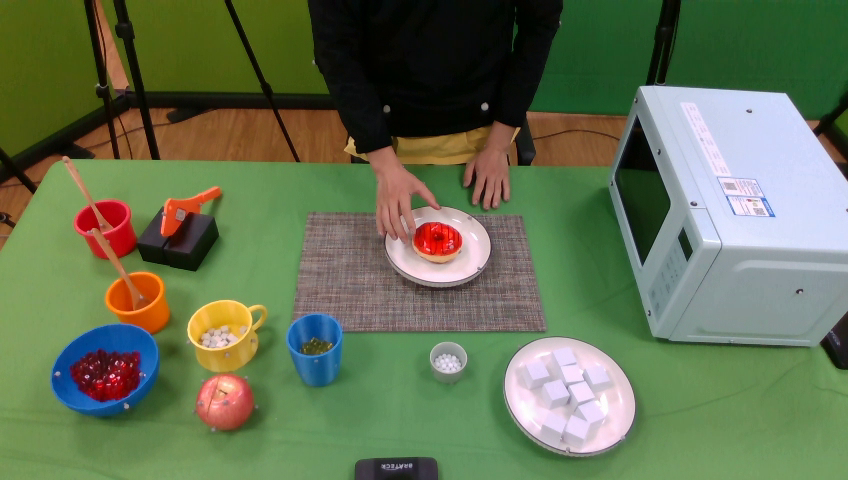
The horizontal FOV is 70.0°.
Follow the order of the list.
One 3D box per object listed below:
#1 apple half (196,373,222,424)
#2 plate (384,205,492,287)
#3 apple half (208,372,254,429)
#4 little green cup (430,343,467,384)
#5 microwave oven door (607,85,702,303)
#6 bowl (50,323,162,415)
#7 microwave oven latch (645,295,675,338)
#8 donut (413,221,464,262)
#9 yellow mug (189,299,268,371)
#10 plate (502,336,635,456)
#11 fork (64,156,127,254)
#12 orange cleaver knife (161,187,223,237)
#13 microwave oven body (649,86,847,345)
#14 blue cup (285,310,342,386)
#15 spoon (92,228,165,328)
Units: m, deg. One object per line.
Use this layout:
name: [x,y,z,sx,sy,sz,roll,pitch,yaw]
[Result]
apple half: [-0.322,0.239,0.907,0.033,0.081,0.081,7,46,-1]
plate: [0.027,0.015,1.169,0.209,0.038,0.208,2,46,-2]
apple half: [-0.283,0.244,0.908,0.053,0.075,0.080,7,42,-1]
little green cup: [0.039,0.203,0.994,0.061,0.039,0.061,2,46,-2]
microwave oven door: [0.423,-0.094,1.140,0.039,0.245,0.353,2,46,-1]
bowl: [-0.472,0.209,0.924,0.151,0.077,0.150,3,45,-2]
microwave oven latch: [0.412,0.134,1.061,0.030,0.029,0.078,3,45,0]
donut: [0.028,0.002,1.166,0.099,0.048,0.098,3,43,-2]
yellow mug: [-0.316,0.148,1.002,0.131,0.064,0.099,-32,56,-32]
plate: [0.225,0.248,0.963,0.208,0.039,0.206,2,46,-2]
fork: [-0.614,-0.064,1.130,0.028,0.018,0.207,-29,97,-16]
orange cleaver knife: [-0.448,-0.058,1.180,0.012,0.077,0.211,13,17,6]
microwave oven body: [0.568,-0.053,1.118,0.326,0.261,0.439,2,45,-1]
blue cup: [-0.170,0.179,0.959,0.093,0.101,0.092,1,44,-1]
spoon: [-0.495,0.063,1.014,0.041,0.194,0.021,-34,12,-31]
